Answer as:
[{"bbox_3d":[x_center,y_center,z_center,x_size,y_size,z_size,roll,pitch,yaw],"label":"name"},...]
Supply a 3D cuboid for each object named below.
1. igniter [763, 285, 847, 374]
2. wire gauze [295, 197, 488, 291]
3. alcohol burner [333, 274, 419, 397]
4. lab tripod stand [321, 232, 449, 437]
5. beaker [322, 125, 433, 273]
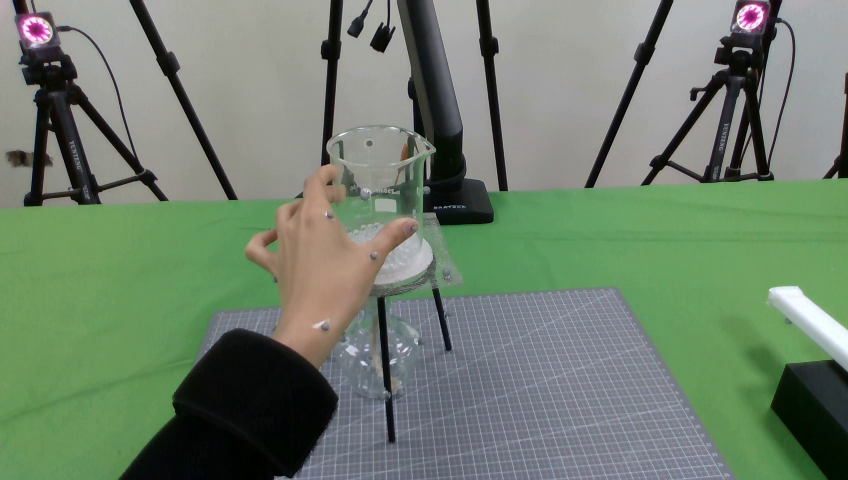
[{"bbox_3d":[0.361,0.114,0.473,0.057,0.025,0.274,-3,28,-5],"label":"igniter"},{"bbox_3d":[-0.030,0.001,0.491,0.125,0.011,0.120,-13,31,-28],"label":"wire gauze"},{"bbox_3d":[-0.042,0.080,0.537,0.078,0.120,0.077,2,30,-1],"label":"alcohol burner"},{"bbox_3d":[-0.034,0.073,0.530,0.148,0.132,0.147,1,32,0],"label":"lab tripod stand"},{"bbox_3d":[-0.035,-0.031,0.480,0.084,0.101,0.073,-4,34,-7],"label":"beaker"}]
